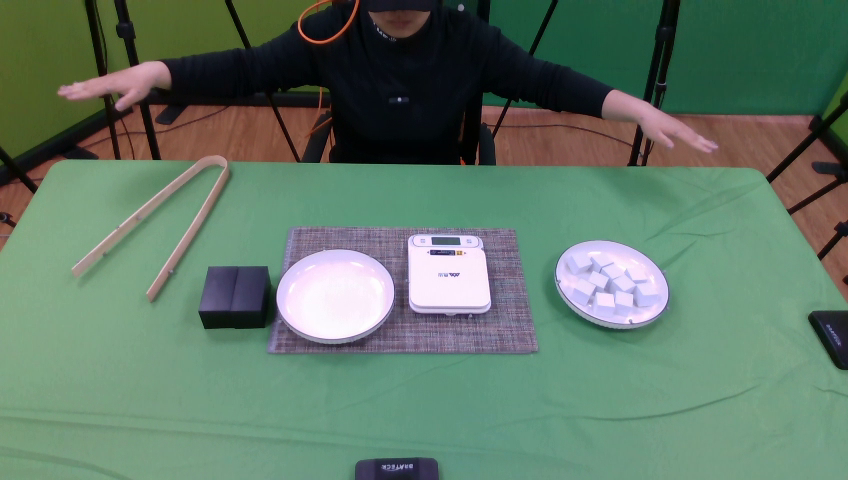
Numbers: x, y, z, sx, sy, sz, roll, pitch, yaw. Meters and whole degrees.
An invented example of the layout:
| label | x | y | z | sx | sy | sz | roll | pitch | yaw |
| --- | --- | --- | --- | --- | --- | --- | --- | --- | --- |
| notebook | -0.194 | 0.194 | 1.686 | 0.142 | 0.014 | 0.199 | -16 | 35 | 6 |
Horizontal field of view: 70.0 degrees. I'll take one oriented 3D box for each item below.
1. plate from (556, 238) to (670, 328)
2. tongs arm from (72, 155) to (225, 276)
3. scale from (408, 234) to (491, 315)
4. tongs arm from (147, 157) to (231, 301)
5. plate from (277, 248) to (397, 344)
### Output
| label | x | y | z | sx | sy | sz | roll | pitch | yaw |
| --- | --- | --- | --- | --- | --- | --- | --- | --- | --- |
| plate | 0.347 | 0.083 | 1.130 | 0.209 | 0.038 | 0.208 | 2 | 47 | -2 |
| tongs arm | -0.531 | -0.058 | 1.205 | 0.050 | 0.026 | 0.383 | 19 | 47 | 13 |
| scale | 0.045 | 0.055 | 1.135 | 0.149 | 0.032 | 0.199 | 1 | 46 | -3 |
| tongs arm | -0.453 | -0.035 | 1.193 | 0.028 | 0.028 | 0.385 | 6 | 46 | 6 |
| plate | -0.152 | 0.101 | 1.073 | 0.208 | 0.039 | 0.206 | 2 | 46 | -2 |
